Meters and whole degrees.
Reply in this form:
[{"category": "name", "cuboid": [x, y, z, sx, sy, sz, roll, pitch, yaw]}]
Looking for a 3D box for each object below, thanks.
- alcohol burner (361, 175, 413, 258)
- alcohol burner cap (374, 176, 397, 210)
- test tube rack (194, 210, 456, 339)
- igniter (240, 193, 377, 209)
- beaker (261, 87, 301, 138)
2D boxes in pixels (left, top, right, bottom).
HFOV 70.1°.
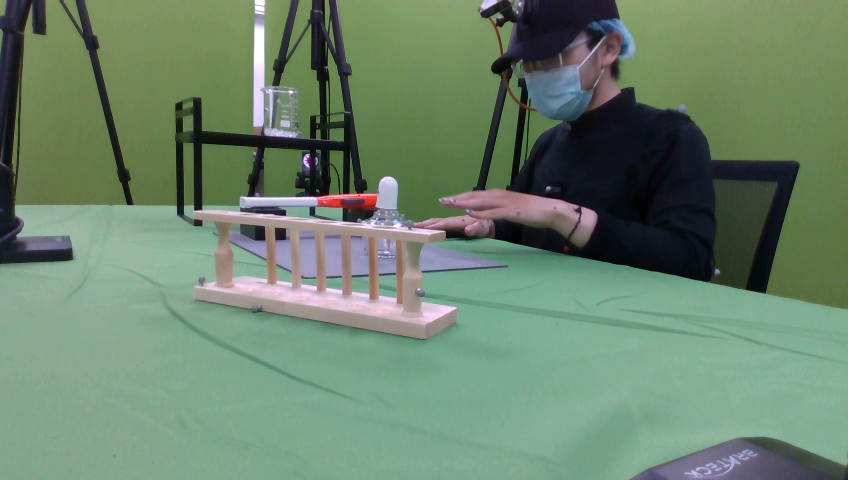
[{"category": "alcohol burner", "cuboid": [-0.054, -0.034, 0.870, 0.078, 0.119, 0.078, 1, 9, 0]}, {"category": "alcohol burner cap", "cuboid": [-0.054, -0.068, 0.866, 0.034, 0.048, 0.034, 6, 10, -1]}, {"category": "test tube rack", "cuboid": [-0.093, 0.023, 0.545, 0.241, 0.085, 0.067, 6, 8, 25]}, {"category": "igniter", "cuboid": [-0.188, -0.070, 1.078, 0.278, 0.025, 0.057, -5, 11, -35]}, {"category": "beaker", "cuboid": [-0.298, -0.263, 1.255, 0.084, 0.100, 0.073, -5, 10, -40]}]
